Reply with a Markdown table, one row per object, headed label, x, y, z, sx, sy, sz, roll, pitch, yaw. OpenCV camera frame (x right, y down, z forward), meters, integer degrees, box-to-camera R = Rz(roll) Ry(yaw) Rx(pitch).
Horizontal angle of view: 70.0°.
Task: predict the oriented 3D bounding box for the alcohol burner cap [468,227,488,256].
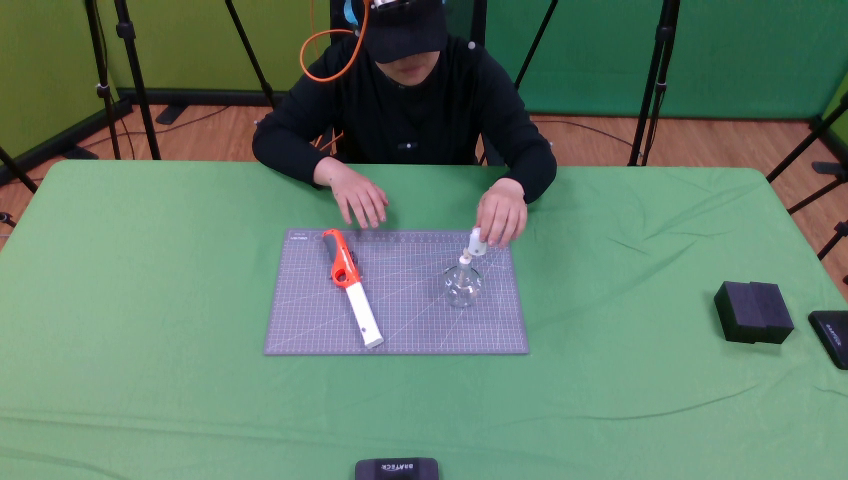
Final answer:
| label | x | y | z | sx | sy | sz | roll | pitch | yaw |
| --- | --- | --- | --- | --- | --- | --- | --- | --- | --- |
| alcohol burner cap | 0.092 | 0.001 | 1.020 | 0.034 | 0.048 | 0.033 | 0 | 39 | 0 |

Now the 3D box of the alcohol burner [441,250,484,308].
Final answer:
| label | x | y | z | sx | sy | sz | roll | pitch | yaw |
| --- | --- | --- | --- | --- | --- | --- | --- | --- | --- |
| alcohol burner | 0.069 | 0.064 | 1.075 | 0.078 | 0.120 | 0.077 | 1 | 45 | -1 |

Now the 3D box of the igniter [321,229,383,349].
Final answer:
| label | x | y | z | sx | sy | sz | roll | pitch | yaw |
| --- | --- | --- | --- | --- | --- | --- | --- | --- | --- |
| igniter | -0.134 | 0.078 | 1.102 | 0.057 | 0.025 | 0.274 | -28 | 53 | 0 |
